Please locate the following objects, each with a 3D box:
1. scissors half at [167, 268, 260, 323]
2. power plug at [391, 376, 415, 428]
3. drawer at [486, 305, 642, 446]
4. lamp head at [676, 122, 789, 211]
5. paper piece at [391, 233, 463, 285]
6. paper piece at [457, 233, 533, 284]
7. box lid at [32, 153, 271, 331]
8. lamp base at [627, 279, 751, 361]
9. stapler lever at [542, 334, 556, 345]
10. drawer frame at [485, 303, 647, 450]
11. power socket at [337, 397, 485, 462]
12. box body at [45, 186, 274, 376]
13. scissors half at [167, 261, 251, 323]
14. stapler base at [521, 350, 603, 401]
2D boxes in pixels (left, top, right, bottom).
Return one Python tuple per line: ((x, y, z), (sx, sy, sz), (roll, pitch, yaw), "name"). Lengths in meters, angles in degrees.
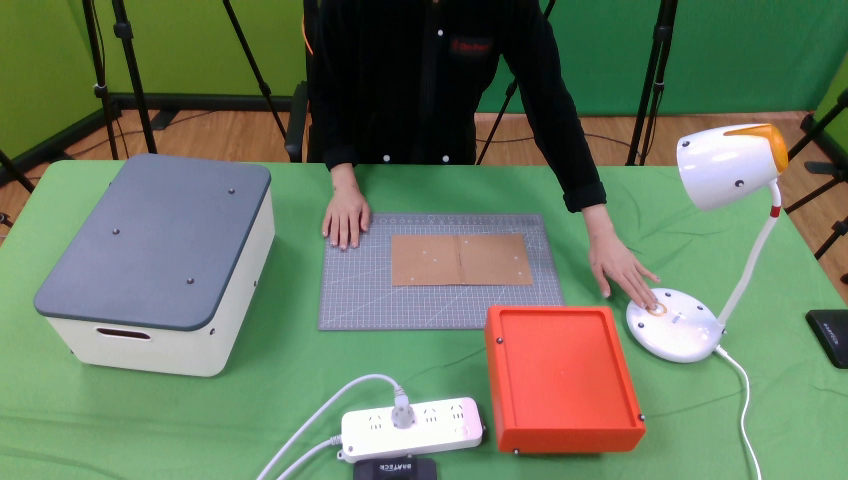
((-0.369, 0.100, 1.069), (0.175, 0.013, 0.040), (-29, 50, -21), "scissors half")
((-0.030, 0.249, 0.917), (0.035, 0.053, 0.072), (3, 46, 0), "power plug")
((0.202, 0.200, 0.919), (0.195, 0.073, 0.210), (2, 47, -4), "drawer")
((0.423, -0.104, 0.819), (0.122, 0.113, 0.112), (-13, 33, 40), "lamp head")
((0.004, 0.035, 1.170), (0.135, 0.004, 0.135), (1, 46, -4), "paper piece")
((0.136, 0.035, 1.182), (0.136, 0.009, 0.137), (2, 45, -6), "paper piece")
((-0.417, -0.015, 0.980), (0.263, 0.015, 0.369), (6, 46, 1), "box lid")
((0.460, 0.100, 1.027), (0.178, 0.181, 0.160), (27, 51, 17), "lamp base")
((0.225, 0.181, 0.929), (0.118, 0.040, 0.027), (27, 34, 15), "stapler lever")
((0.204, 0.202, 0.917), (0.202, 0.083, 0.212), (1, 47, -4), "drawer frame")
((-0.018, 0.285, 0.915), (0.227, 0.033, 0.071), (-4, 46, -8), "power socket")
((-0.421, 0.037, 1.031), (0.254, 0.161, 0.362), (5, 46, 1), "box body")
((-0.383, 0.091, 1.081), (0.040, 0.013, 0.175), (24, 51, 32), "scissors half")
((0.217, 0.203, 0.942), (0.130, 0.024, 0.041), (26, 33, 16), "stapler base")
